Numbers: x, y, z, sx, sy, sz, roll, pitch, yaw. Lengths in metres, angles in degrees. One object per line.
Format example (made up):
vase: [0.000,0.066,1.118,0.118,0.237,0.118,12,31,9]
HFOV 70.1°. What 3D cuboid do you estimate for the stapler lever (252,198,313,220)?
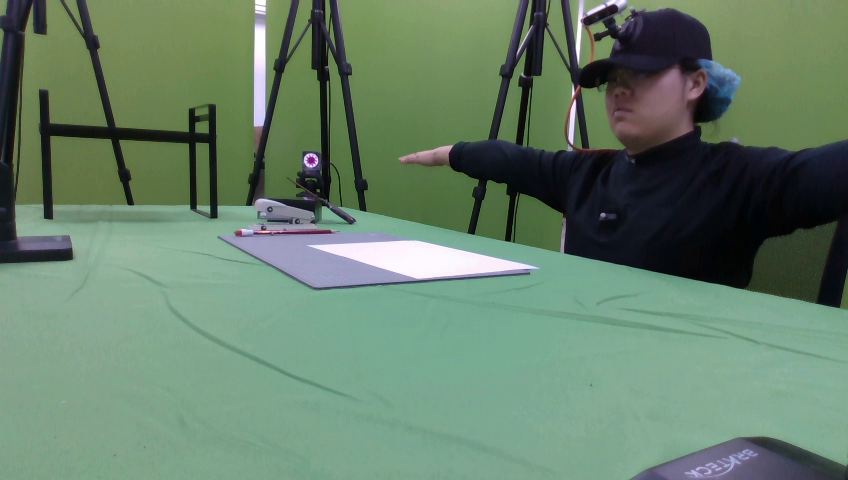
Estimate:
stapler lever: [-0.273,-0.059,1.170,0.119,0.040,0.026,0,10,-37]

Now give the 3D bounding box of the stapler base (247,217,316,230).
stapler base: [-0.276,-0.033,1.172,0.131,0.024,0.041,0,10,-37]

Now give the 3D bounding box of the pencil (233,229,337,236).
pencil: [-0.240,-0.014,1.065,0.195,0.012,0.012,-1,8,-37]

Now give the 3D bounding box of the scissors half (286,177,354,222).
scissors half: [-0.230,-0.091,1.337,0.175,0.013,0.040,32,16,-13]

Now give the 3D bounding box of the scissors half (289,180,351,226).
scissors half: [-0.233,-0.085,1.318,0.175,0.013,0.040,38,21,4]
